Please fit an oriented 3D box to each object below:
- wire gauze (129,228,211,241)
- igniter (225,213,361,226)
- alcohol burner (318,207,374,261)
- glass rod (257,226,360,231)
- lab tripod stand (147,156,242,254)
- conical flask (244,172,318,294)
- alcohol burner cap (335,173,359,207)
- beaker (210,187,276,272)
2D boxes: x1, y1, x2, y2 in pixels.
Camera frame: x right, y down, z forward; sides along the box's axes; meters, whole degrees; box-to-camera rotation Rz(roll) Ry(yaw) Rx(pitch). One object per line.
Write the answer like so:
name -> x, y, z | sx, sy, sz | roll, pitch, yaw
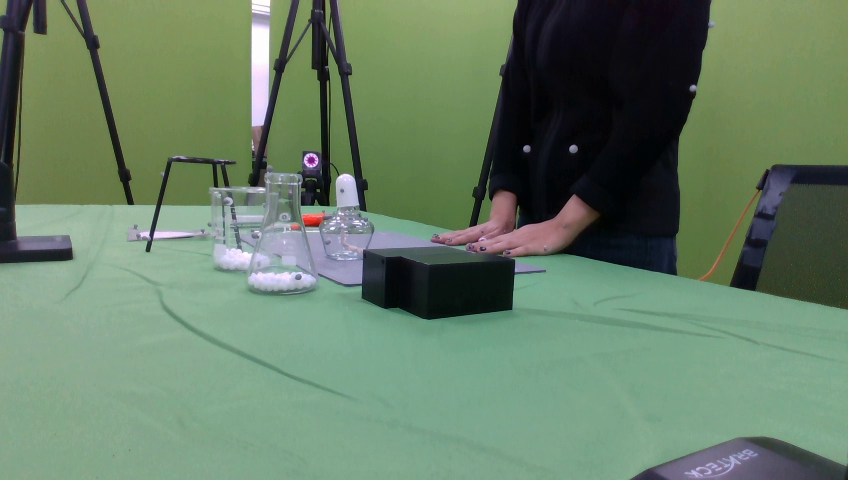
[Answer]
wire gauze -> -0.419, -0.010, 0.999 | 0.122, 0.011, 0.124 | 0, 6, -25
igniter -> -0.257, -0.042, 1.221 | 0.278, 0.025, 0.057 | -2, -2, -32
alcohol burner -> -0.107, -0.032, 0.833 | 0.078, 0.119, 0.078 | 1, 6, 0
glass rod -> -0.216, -0.022, 1.151 | 0.201, 0.008, 0.008 | -2, 8, -28
lab tripod stand -> -0.310, -0.050, 0.858 | 0.148, 0.131, 0.148 | 4, 6, 0
conical flask -> -0.148, -0.009, 0.628 | 0.075, 0.122, 0.075 | 2, 7, 0
alcohol burner cap -> -0.108, -0.068, 0.829 | 0.034, 0.048, 0.034 | -7, 4, 1
beaker -> -0.224, -0.014, 0.738 | 0.084, 0.100, 0.074 | 4, 7, 16
